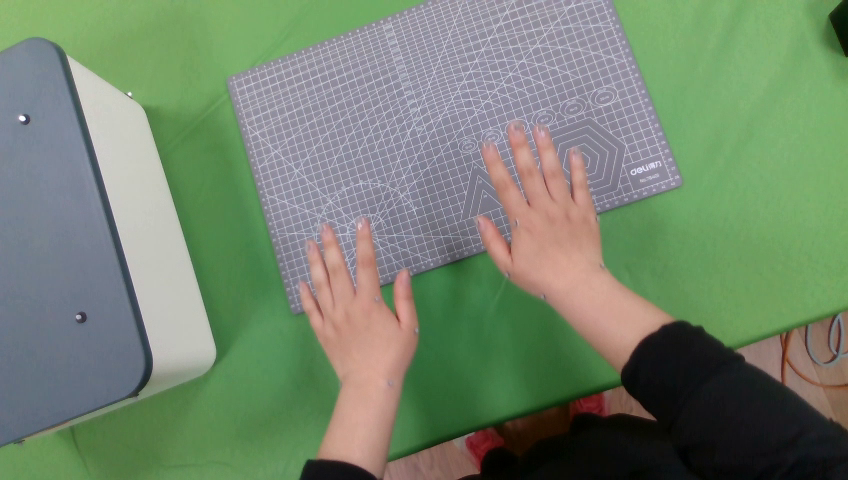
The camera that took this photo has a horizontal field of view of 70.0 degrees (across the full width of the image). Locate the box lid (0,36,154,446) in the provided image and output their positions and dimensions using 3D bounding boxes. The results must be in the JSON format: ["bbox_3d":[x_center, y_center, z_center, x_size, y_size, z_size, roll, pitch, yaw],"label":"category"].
[{"bbox_3d":[-0.421,0.005,0.582,0.263,0.015,0.370,-22,82,6],"label":"box lid"}]

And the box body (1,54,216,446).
[{"bbox_3d":[-0.409,0.017,0.654,0.254,0.161,0.362,-22,81,5],"label":"box body"}]
